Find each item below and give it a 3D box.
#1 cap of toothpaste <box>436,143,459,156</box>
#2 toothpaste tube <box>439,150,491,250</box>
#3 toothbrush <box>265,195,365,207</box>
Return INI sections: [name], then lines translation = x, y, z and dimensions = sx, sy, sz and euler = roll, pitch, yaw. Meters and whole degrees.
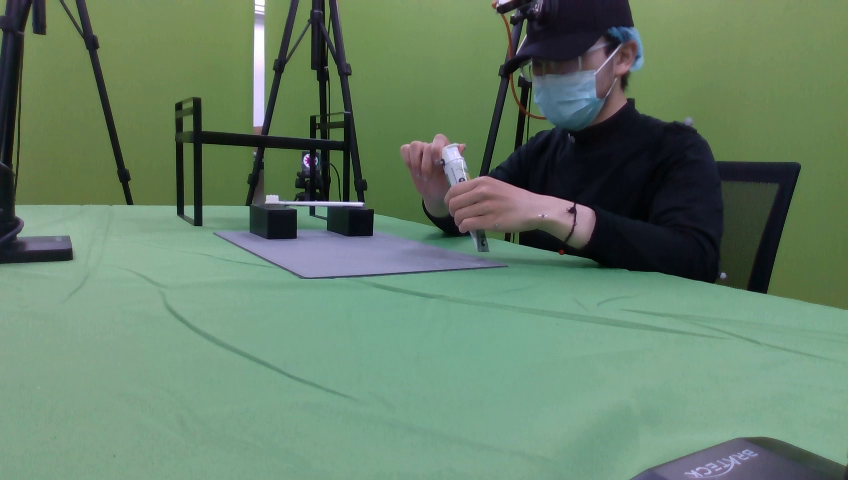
[cap of toothpaste]
translation = 0.037, -0.135, 0.911
dimensions = 0.037, 0.011, 0.037
euler = -19, -9, -3
[toothpaste tube]
translation = 0.062, -0.062, 0.898
dimensions = 0.034, 0.165, 0.055
euler = -25, -9, 25
[toothbrush]
translation = -0.192, -0.068, 1.081
dimensions = 0.183, 0.016, 0.014
euler = 1, -8, -26
